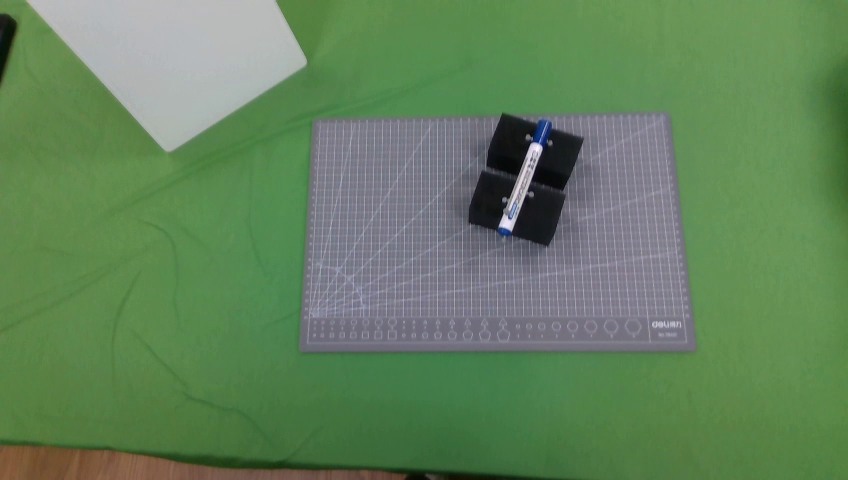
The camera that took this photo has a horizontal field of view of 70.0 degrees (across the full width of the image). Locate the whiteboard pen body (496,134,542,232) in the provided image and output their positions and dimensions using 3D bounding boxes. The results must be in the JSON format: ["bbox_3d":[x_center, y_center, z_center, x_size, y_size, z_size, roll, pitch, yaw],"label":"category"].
[{"bbox_3d":[0.110,-0.074,0.679,0.017,0.017,0.140,21,78,8],"label":"whiteboard pen body"}]

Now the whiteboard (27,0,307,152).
[{"bbox_3d":[-0.313,-0.297,0.695,0.217,0.308,0.142,-35,56,-6],"label":"whiteboard"}]

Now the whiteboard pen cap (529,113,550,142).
[{"bbox_3d":[0.131,-0.128,0.693,0.018,0.018,0.033,20,79,8],"label":"whiteboard pen cap"}]
